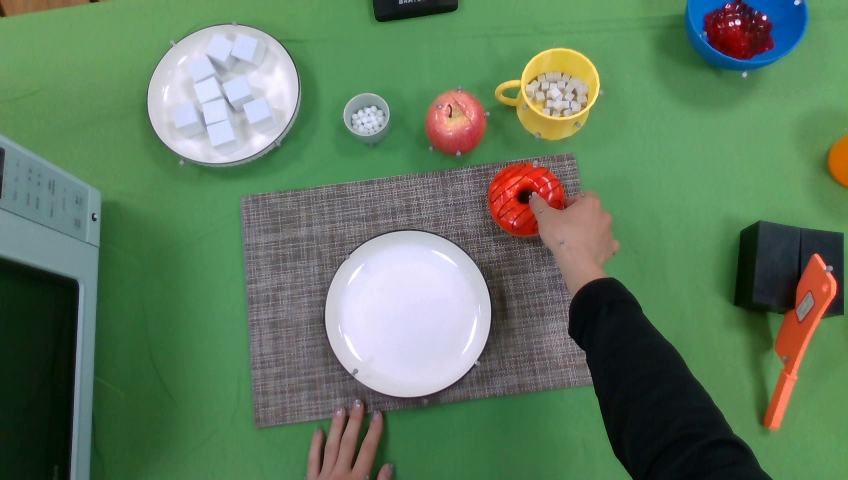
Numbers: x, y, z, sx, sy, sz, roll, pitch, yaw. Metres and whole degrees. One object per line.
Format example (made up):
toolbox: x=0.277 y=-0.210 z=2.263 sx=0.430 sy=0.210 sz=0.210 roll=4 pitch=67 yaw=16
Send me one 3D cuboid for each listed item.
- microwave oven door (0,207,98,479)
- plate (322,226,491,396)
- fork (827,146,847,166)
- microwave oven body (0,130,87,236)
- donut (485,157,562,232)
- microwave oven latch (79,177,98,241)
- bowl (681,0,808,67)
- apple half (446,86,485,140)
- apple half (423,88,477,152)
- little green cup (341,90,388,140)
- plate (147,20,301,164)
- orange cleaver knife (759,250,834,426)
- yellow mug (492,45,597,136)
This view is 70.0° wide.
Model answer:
microwave oven door: x=-0.431 y=0.151 z=0.634 sx=0.039 sy=0.245 sz=0.354 roll=-5 pitch=77 yaw=1
plate: x=-0.021 y=0.086 z=0.753 sx=0.209 sy=0.038 sz=0.208 roll=0 pitch=78 yaw=2
fork: x=0.603 y=-0.119 z=0.721 sx=0.206 sy=0.019 sz=0.028 roll=-11 pitch=69 yaw=45
microwave oven body: x=-0.579 y=0.123 z=0.651 sx=0.326 sy=0.261 sz=0.439 roll=-5 pitch=78 yaw=1
donut: x=0.126 y=-0.058 z=0.775 sx=0.099 sy=0.048 sz=0.098 roll=-1 pitch=78 yaw=6
microwave oven latch: x=-0.440 y=-0.039 z=0.780 sx=0.030 sy=0.029 sz=0.079 roll=-3 pitch=78 yaw=1
bowl: x=0.408 y=-0.287 z=0.802 sx=0.151 sy=0.077 sz=0.150 roll=-1 pitch=78 yaw=3
apple half: x=0.059 y=-0.170 z=0.791 sx=0.033 sy=0.081 sz=0.081 roll=-35 pitch=78 yaw=-1
apple half: x=0.027 y=-0.148 z=0.789 sx=0.053 sy=0.075 sz=0.080 roll=-34 pitch=82 yaw=-1
little green cup: x=-0.078 y=-0.165 z=0.814 sx=0.061 sy=0.039 sz=0.061 roll=0 pitch=77 yaw=2
plate: x=-0.268 y=-0.199 z=0.828 sx=0.207 sy=0.039 sz=0.206 roll=0 pitch=77 yaw=2
orange cleaver knife: x=0.427 y=0.116 z=0.708 sx=0.012 sy=0.077 sz=0.212 roll=11 pitch=110 yaw=7
yellow mug: x=0.155 y=-0.196 z=0.798 sx=0.131 sy=0.064 sz=0.099 roll=3 pitch=78 yaw=4
